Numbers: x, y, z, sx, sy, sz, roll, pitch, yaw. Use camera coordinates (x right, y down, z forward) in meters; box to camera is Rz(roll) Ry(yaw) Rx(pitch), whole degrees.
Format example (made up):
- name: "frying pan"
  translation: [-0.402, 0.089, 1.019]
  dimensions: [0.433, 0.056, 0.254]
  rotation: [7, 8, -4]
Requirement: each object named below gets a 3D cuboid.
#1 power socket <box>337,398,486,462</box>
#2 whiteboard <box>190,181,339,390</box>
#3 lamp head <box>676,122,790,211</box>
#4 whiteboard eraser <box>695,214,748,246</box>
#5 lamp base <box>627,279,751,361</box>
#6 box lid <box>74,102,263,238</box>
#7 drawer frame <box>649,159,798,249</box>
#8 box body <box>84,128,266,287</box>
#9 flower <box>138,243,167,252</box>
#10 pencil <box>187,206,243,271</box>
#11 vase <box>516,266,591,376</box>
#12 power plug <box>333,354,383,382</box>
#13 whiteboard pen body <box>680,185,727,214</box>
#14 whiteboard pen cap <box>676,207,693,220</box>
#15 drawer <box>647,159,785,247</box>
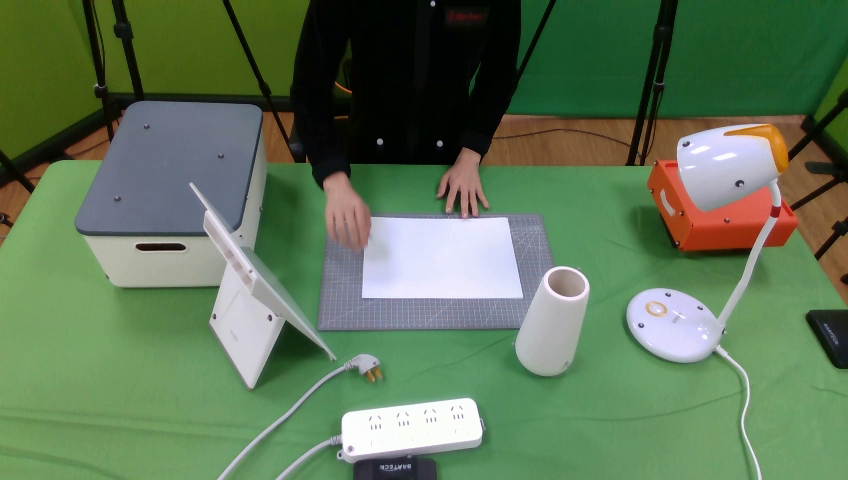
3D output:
- name: "power socket"
  translation: [-0.017, 0.285, 0.914]
  dimensions: [0.227, 0.033, 0.071]
  rotation: [-4, 46, -8]
- name: "whiteboard"
  translation: [-0.292, 0.096, 0.929]
  dimensions: [0.144, 0.307, 0.216]
  rotation: [-37, 57, -10]
- name: "lamp head"
  translation: [0.423, -0.104, 0.819]
  dimensions: [0.122, 0.113, 0.112]
  rotation: [-13, 33, 40]
- name: "whiteboard eraser"
  translation: [0.592, -0.019, 1.209]
  dimensions: [0.113, 0.042, 0.055]
  rotation: [12, 27, -36]
- name: "lamp base"
  translation: [0.459, 0.100, 1.027]
  dimensions: [0.178, 0.181, 0.160]
  rotation: [27, 51, 17]
- name: "box lid"
  translation: [-0.443, -0.138, 1.094]
  dimensions: [0.263, 0.015, 0.369]
  rotation: [0, 46, -5]
- name: "drawer frame"
  translation: [0.588, -0.077, 1.219]
  dimensions: [0.214, 0.083, 0.200]
  rotation: [-2, 45, -5]
- name: "box body"
  translation: [-0.447, -0.088, 1.150]
  dimensions: [0.254, 0.161, 0.361]
  rotation: [-1, 46, -5]
- name: "flower"
  translation: [-0.443, -0.043, 1.194]
  dimensions: [0.044, 0.038, 0.361]
  rotation: [46, 47, -7]
- name: "pencil"
  translation: [-0.401, -0.008, 1.176]
  dimensions: [0.012, 0.012, 0.193]
  rotation: [15, 44, 10]
- name: "vase"
  translation: [0.208, 0.132, 0.964]
  dimensions: [0.098, 0.201, 0.097]
  rotation: [3, 46, -3]
- name: "power plug"
  translation: [-0.103, 0.215, 0.988]
  dimensions: [0.072, 0.035, 0.052]
  rotation: [-36, 77, 15]
- name: "whiteboard pen body"
  translation: [0.571, -0.081, 1.239]
  dimensions: [0.141, 0.017, 0.017]
  rotation: [-26, 54, -22]
- name: "whiteboard pen cap"
  translation: [0.524, -0.053, 1.216]
  dimensions: [0.033, 0.018, 0.018]
  rotation: [-28, 54, -23]
- name: "drawer"
  translation: [0.582, -0.079, 1.214]
  dimensions: [0.212, 0.073, 0.193]
  rotation: [-1, 46, -5]
